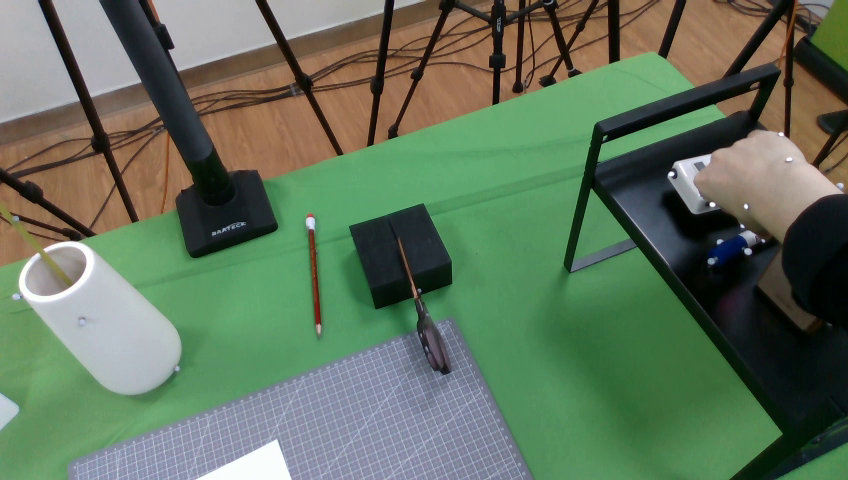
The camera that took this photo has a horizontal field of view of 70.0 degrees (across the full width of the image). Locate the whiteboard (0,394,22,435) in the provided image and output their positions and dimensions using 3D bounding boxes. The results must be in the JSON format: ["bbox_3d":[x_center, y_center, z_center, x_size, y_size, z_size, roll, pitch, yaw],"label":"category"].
[{"bbox_3d":[-0.619,0.150,0.585,0.142,0.309,0.216,15,54,37],"label":"whiteboard"}]

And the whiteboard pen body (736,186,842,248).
[{"bbox_3d":[0.327,-0.017,0.559,0.141,0.017,0.017,-25,56,-9],"label":"whiteboard pen body"}]

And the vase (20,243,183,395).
[{"bbox_3d":[-0.335,0.087,0.642,0.098,0.202,0.097,-3,53,4],"label":"vase"}]

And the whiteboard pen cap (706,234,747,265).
[{"bbox_3d":[0.275,0.009,0.549,0.033,0.018,0.018,-25,56,-9],"label":"whiteboard pen cap"}]

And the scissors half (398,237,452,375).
[{"bbox_3d":[-0.002,0.074,0.706,0.013,0.040,0.174,-25,74,14],"label":"scissors half"}]

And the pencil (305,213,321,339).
[{"bbox_3d":[-0.142,0.041,0.780,0.012,0.012,0.192,-10,55,-3],"label":"pencil"}]

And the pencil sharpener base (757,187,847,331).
[{"bbox_3d":[0.335,0.013,0.488,0.077,0.108,0.060,-24,55,-14],"label":"pencil sharpener base"}]

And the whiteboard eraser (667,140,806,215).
[{"bbox_3d":[0.298,-0.058,0.582,0.113,0.042,0.055,-12,55,-6],"label":"whiteboard eraser"}]

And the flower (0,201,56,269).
[{"bbox_3d":[-0.352,0.030,0.581,0.044,0.365,0.038,-26,39,-10],"label":"flower"}]

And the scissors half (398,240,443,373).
[{"bbox_3d":[-0.009,0.067,0.687,0.013,0.040,0.173,-23,56,9],"label":"scissors half"}]
